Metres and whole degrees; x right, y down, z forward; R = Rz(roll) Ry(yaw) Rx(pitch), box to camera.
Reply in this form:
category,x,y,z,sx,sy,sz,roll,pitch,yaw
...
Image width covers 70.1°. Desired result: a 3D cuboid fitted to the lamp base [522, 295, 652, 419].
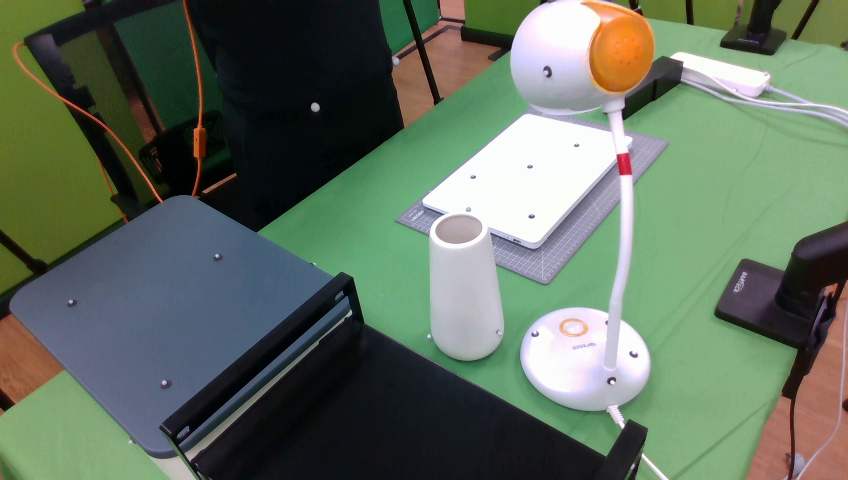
category,x,y,z,sx,sy,sz,roll,pitch,yaw
lamp base,0.201,0.095,0.710,0.161,0.181,0.177,-16,43,-10

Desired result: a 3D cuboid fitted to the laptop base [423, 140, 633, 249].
category,x,y,z,sx,sy,sz,roll,pitch,yaw
laptop base,0.194,-0.117,1.087,0.233,0.023,0.355,21,47,34

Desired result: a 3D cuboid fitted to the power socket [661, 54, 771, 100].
category,x,y,z,sx,sy,sz,roll,pitch,yaw
power socket,0.614,-0.349,1.285,0.072,0.033,0.225,-36,48,-29

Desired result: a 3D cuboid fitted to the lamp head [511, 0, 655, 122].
category,x,y,z,sx,sy,sz,roll,pitch,yaw
lamp head,0.155,-0.168,0.564,0.113,0.113,0.122,-18,23,-12

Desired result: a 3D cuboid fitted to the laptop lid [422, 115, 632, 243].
category,x,y,z,sx,sy,sz,roll,pitch,yaw
laptop lid,0.190,-0.126,1.081,0.239,0.013,0.358,23,48,34

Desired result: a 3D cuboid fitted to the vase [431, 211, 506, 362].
category,x,y,z,sx,sy,sz,roll,pitch,yaw
vase,0.054,0.062,0.757,0.098,0.201,0.097,-3,40,3

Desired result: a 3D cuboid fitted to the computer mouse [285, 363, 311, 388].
category,x,y,z,sx,sy,sz,roll,pitch,yaw
computer mouse,-0.161,0.158,0.791,0.116,0.041,0.063,26,45,23

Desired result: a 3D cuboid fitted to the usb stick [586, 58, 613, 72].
category,x,y,z,sx,sy,sz,roll,pitch,yaw
usb stick,0.401,-0.399,1.381,0.059,0.027,0.021,1,48,21

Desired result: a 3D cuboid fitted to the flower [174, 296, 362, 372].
category,x,y,z,sx,sy,sz,roll,pitch,yaw
flower,-0.233,0.115,0.831,0.359,0.044,0.038,10,-2,33

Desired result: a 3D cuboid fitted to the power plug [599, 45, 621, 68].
category,x,y,z,sx,sy,sz,roll,pitch,yaw
power plug,0.437,-0.422,1.412,0.053,0.035,0.072,-18,74,-46

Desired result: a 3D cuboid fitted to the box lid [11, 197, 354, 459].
category,x,y,z,sx,sy,sz,roll,pitch,yaw
box lid,-0.288,0.072,0.710,0.368,0.015,0.264,25,50,32

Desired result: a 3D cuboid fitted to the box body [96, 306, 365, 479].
category,x,y,z,sx,sy,sz,roll,pitch,yaw
box body,-0.281,0.128,0.759,0.361,0.161,0.255,24,49,32
